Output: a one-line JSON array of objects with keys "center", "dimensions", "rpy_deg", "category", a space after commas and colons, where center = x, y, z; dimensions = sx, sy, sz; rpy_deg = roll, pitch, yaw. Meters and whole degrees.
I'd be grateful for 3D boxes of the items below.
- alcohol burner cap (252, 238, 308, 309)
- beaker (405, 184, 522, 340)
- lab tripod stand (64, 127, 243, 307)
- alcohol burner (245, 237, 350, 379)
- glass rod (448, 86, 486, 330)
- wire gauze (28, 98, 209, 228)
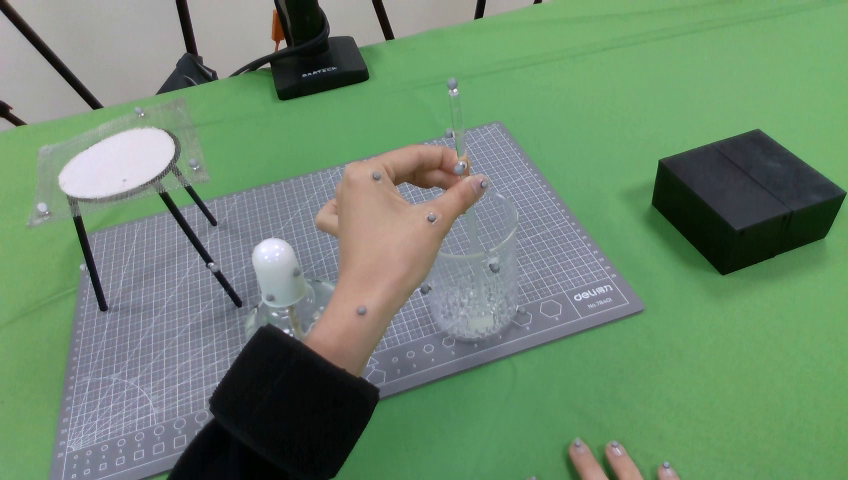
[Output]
[{"center": [-0.100, 0.021, 0.412], "dimensions": [0.034, 0.048, 0.033], "rpy_deg": [-4, 41, 3], "category": "alcohol burner cap"}, {"center": [0.032, 0.021, 0.452], "dimensions": [0.084, 0.101, 0.073], "rpy_deg": [-19, 44, -10], "category": "beaker"}, {"center": [-0.225, -0.013, 0.505], "dimensions": [0.148, 0.133, 0.147], "rpy_deg": [-5, 46, 5], "category": "lab tripod stand"}, {"center": [-0.095, 0.046, 0.437], "dimensions": [0.078, 0.120, 0.077], "rpy_deg": [-6, 42, 5], "category": "alcohol burner"}, {"center": [0.030, -0.009, 0.407], "dimensions": [0.008, 0.201, 0.008], "rpy_deg": [-6, 38, 5], "category": "glass rod"}, {"center": [-0.233, -0.061, 0.459], "dimensions": [0.125, 0.011, 0.120], "rpy_deg": [-21, 45, -11], "category": "wire gauze"}]
